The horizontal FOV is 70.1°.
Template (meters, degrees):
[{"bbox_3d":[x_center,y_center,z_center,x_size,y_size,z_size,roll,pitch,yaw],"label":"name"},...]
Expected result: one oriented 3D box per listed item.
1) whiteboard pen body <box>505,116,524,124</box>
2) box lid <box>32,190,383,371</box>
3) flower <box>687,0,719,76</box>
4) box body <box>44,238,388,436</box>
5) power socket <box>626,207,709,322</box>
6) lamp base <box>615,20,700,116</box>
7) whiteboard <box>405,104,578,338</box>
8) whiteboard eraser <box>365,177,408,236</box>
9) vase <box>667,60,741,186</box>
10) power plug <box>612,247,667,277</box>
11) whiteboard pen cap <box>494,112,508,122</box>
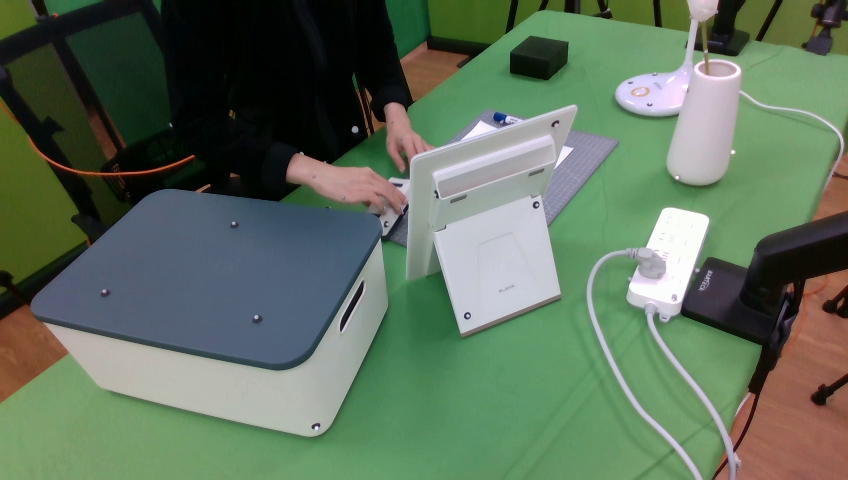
[{"bbox_3d":[0.203,-0.232,1.213,0.139,0.017,0.017,28,51,36],"label":"whiteboard pen body"},{"bbox_3d":[-0.257,0.032,0.750,0.370,0.015,0.263,7,42,16],"label":"box lid"},{"bbox_3d":[0.436,-0.242,0.934,0.038,0.364,0.043,-24,49,9],"label":"flower"},{"bbox_3d":[-0.251,0.088,0.799,0.362,0.161,0.254,7,42,16],"label":"box body"},{"bbox_3d":[0.360,0.026,0.886,0.072,0.033,0.227,16,46,27],"label":"power socket"},{"bbox_3d":[0.484,-0.364,1.211,0.180,0.181,0.159,-15,41,-14],"label":"lamp base"},{"bbox_3d":[0.102,0.003,0.787,0.218,0.306,0.143,-19,62,-14],"label":"whiteboard"},{"bbox_3d":[-0.058,-0.053,0.996,0.055,0.042,0.112,13,55,32],"label":"whiteboard eraser"},{"bbox_3d":[0.463,-0.189,0.994,0.098,0.201,0.097,-4,40,4],"label":"vase"},{"bbox_3d":[0.306,0.031,0.852,0.072,0.053,0.035,21,48,37],"label":"power plug"},{"bbox_3d":[0.161,-0.253,1.248,0.033,0.018,0.018,27,51,36],"label":"whiteboard pen cap"}]
